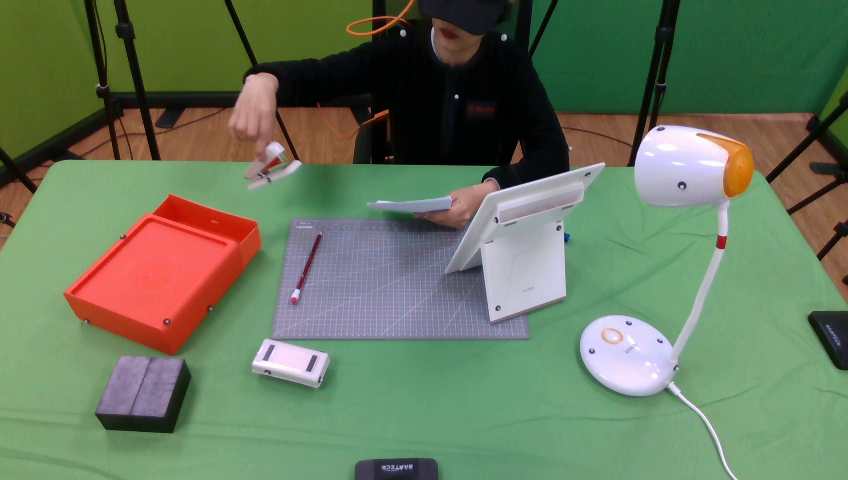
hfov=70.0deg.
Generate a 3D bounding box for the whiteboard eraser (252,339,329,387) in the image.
[{"bbox_3d":[-0.215,0.199,0.976,0.112,0.042,0.055,12,45,7],"label":"whiteboard eraser"}]

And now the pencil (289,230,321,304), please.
[{"bbox_3d":[-0.220,0.046,1.141,0.012,0.012,0.193,8,44,4],"label":"pencil"}]

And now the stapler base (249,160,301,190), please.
[{"bbox_3d":[-0.284,-0.128,1.135,0.130,0.024,0.041,-16,27,38],"label":"stapler base"}]

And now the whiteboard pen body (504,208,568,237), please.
[{"bbox_3d":[0.230,-0.034,1.248,0.140,0.017,0.017,23,49,17],"label":"whiteboard pen body"}]

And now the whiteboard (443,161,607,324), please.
[{"bbox_3d":[0.185,0.026,1.028,0.217,0.306,0.143,-15,68,-18],"label":"whiteboard"}]

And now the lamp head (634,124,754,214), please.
[{"bbox_3d":[0.351,-0.089,0.776,0.112,0.113,0.122,-30,30,-28],"label":"lamp head"}]

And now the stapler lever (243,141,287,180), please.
[{"bbox_3d":[-0.300,-0.148,1.125,0.118,0.040,0.027,-18,26,39],"label":"stapler lever"}]

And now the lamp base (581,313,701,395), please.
[{"bbox_3d":[0.361,0.144,0.973,0.178,0.181,0.160,34,53,23],"label":"lamp base"}]

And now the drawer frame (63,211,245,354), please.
[{"bbox_3d":[-0.459,0.067,1.056,0.201,0.083,0.212,17,48,11],"label":"drawer frame"}]

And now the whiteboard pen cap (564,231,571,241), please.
[{"bbox_3d":[0.281,-0.011,1.230,0.033,0.018,0.018,25,50,17],"label":"whiteboard pen cap"}]

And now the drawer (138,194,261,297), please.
[{"bbox_3d":[-0.437,0.027,1.098,0.194,0.073,0.211,18,48,12],"label":"drawer"}]
